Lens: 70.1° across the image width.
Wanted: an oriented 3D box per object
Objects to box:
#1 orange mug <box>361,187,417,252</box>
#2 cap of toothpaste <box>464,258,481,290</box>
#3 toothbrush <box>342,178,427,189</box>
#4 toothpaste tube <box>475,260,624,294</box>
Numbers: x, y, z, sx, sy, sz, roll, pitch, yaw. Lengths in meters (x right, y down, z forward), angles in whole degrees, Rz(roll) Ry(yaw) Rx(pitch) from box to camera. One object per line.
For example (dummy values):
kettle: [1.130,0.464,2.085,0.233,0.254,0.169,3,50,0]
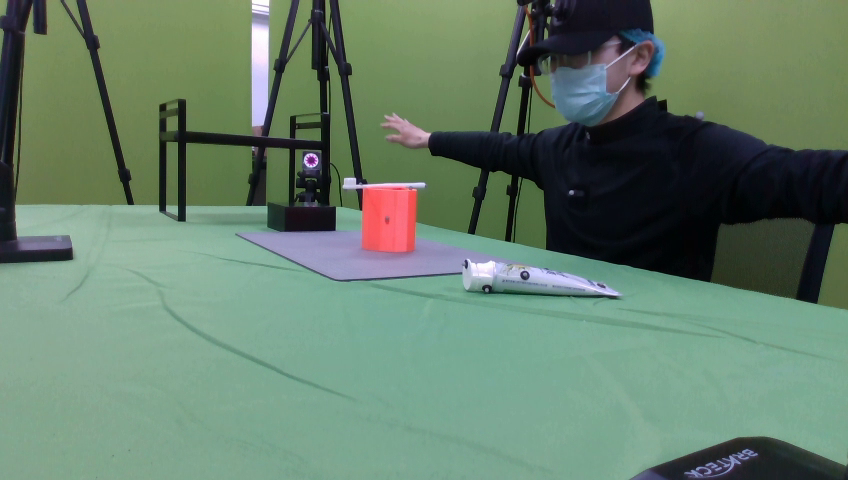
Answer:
orange mug: [-0.054,-0.039,0.962,0.083,0.101,0.126,2,12,0]
cap of toothpaste: [0.053,0.037,0.660,0.011,0.037,0.037,-1,8,-15]
toothbrush: [-0.058,-0.089,0.948,0.014,0.016,0.183,5,7,41]
toothpaste tube: [0.134,0.045,0.668,0.165,0.034,0.055,5,14,-7]
